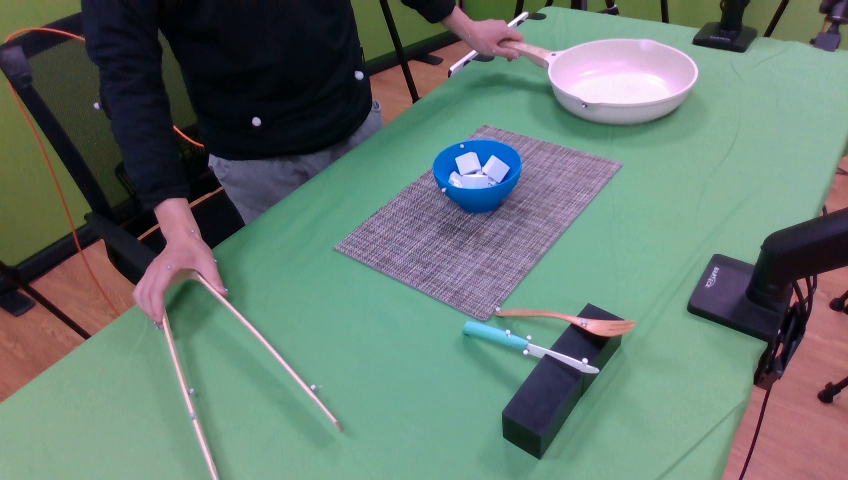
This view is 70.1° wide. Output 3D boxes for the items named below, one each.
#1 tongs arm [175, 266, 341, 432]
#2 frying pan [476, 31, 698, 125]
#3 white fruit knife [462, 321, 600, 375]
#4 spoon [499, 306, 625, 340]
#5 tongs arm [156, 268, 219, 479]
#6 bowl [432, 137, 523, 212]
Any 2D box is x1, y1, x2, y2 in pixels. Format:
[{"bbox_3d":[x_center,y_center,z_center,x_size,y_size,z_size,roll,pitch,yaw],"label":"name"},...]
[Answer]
[{"bbox_3d":[-0.234,0.133,0.817,0.028,0.028,0.384,-40,53,-22],"label":"tongs arm"},{"bbox_3d":[0.321,-0.371,1.290,0.484,0.103,0.307,29,51,24],"label":"frying pan"},{"bbox_3d":[0.126,0.132,0.752,0.205,0.027,0.016,12,47,42],"label":"white fruit knife"},{"bbox_3d":[0.169,0.102,0.773,0.042,0.021,0.192,-10,13,-38],"label":"spoon"},{"bbox_3d":[-0.297,0.168,0.788,0.051,0.026,0.381,-28,47,-17],"label":"tongs arm"},{"bbox_3d":[0.091,-0.100,1.022,0.151,0.077,0.150,-4,41,4],"label":"bowl"}]
